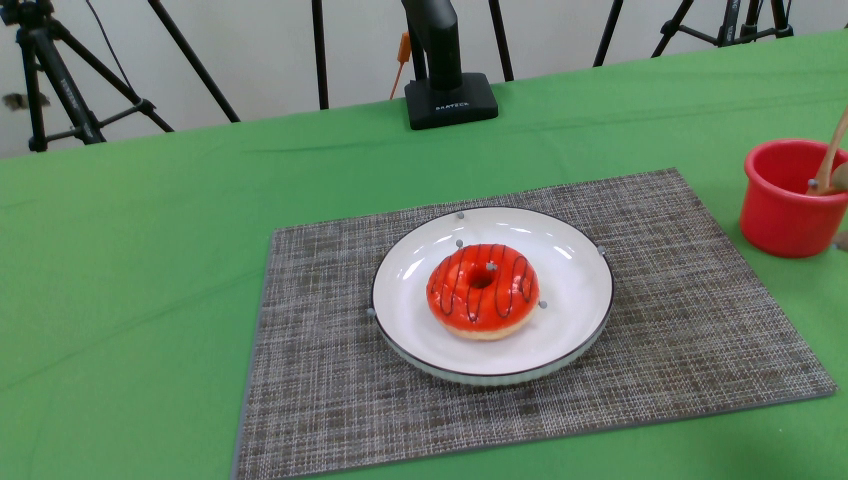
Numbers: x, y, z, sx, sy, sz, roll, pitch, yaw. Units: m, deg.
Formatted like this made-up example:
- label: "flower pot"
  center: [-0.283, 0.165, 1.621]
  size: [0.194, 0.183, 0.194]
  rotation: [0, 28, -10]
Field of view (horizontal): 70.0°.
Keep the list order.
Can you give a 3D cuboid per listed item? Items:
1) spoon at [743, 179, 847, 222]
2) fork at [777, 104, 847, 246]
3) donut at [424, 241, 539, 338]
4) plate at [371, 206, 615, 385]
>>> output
- label: "spoon"
  center: [0.353, -0.042, 0.508]
  size: [0.041, 0.193, 0.021]
  rotation: [-39, 93, -21]
- label: "fork"
  center: [0.375, -0.088, 0.547]
  size: [0.019, 0.207, 0.028]
  rotation: [21, 5, -21]
- label: "donut"
  center: [0.050, 0.042, 0.522]
  size: [0.099, 0.049, 0.098]
  rotation: [-5, 43, 5]
- label: "plate"
  center: [0.059, 0.046, 0.534]
  size: [0.209, 0.038, 0.207]
  rotation: [-5, 40, 4]
